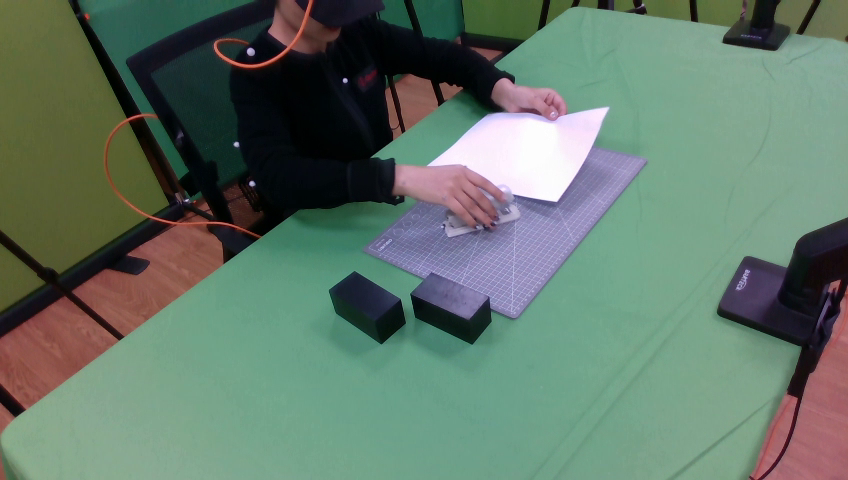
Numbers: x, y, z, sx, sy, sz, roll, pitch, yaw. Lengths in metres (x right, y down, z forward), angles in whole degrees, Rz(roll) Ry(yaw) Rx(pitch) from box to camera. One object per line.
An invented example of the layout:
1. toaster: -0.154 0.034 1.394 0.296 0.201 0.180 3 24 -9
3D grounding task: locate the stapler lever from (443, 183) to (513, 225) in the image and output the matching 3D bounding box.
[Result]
1. stapler lever: 0.089 -0.060 0.991 0.118 0.040 0.026 -17 36 -7

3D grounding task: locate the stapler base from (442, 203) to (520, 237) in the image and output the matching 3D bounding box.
1. stapler base: 0.094 -0.041 1.007 0.131 0.024 0.041 -17 36 -7
